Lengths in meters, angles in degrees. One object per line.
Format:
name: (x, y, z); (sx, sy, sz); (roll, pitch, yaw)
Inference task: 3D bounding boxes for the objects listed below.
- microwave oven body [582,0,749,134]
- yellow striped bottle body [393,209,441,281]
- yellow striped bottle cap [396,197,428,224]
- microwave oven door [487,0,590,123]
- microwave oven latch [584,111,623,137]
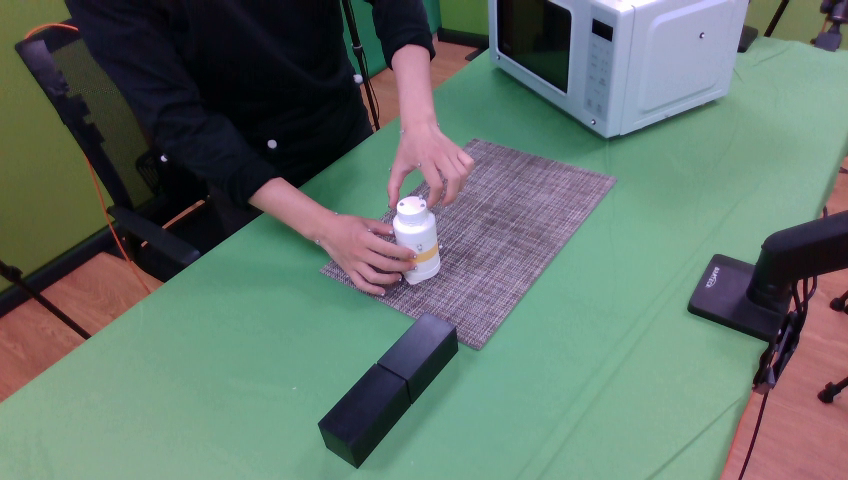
microwave oven body: (0.382, -0.444, 1.246); (0.327, 0.261, 0.437); (-22, 42, -16)
yellow striped bottle body: (-0.011, -0.002, 0.892); (0.063, 0.121, 0.062); (-4, 41, 4)
yellow striped bottle cap: (-0.017, -0.042, 0.856); (0.044, 0.019, 0.044); (-5, 36, 4)
microwave oven door: (0.232, -0.420, 1.230); (0.039, 0.245, 0.352); (-22, 43, -16)
microwave oven latch: (0.337, -0.222, 1.142); (0.030, 0.029, 0.078); (-21, 42, -14)
